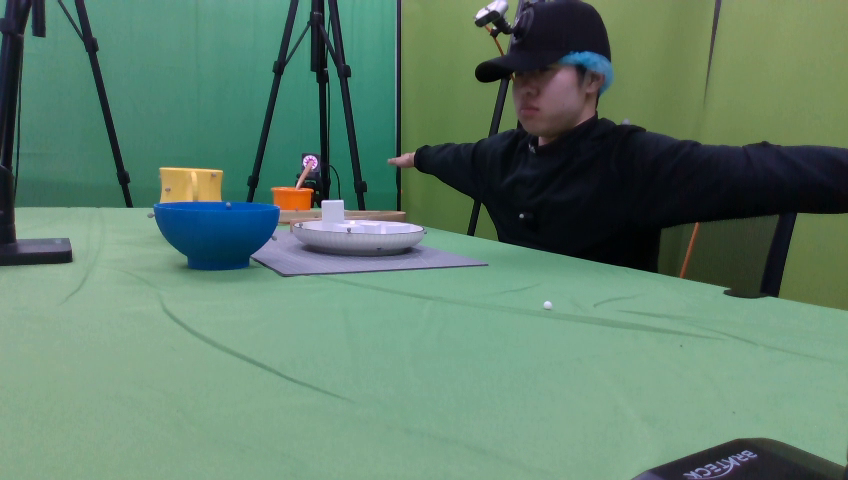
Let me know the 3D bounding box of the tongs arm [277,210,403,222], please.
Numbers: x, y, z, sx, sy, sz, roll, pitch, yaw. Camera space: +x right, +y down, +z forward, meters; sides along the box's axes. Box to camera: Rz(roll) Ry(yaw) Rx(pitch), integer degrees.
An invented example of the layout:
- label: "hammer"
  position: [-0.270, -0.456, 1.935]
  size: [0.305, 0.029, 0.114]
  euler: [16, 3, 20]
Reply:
- label: "tongs arm"
  position: [-0.207, -0.051, 1.333]
  size: [0.387, 0.026, 0.050]
  euler: [-2, 8, -44]

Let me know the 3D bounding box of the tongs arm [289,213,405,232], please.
- label: "tongs arm"
  position: [-0.146, -0.040, 1.281]
  size: [0.028, 0.028, 0.389]
  euler: [3, 5, 33]

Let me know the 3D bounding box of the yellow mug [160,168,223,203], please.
- label: "yellow mug"
  position: [-0.387, -0.086, 1.016]
  size: [0.100, 0.064, 0.130]
  euler: [-1, 9, -26]

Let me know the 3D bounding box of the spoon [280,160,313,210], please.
- label: "spoon"
  position: [-0.286, -0.118, 1.372]
  size: [0.041, 0.193, 0.022]
  euler: [3, -37, 18]

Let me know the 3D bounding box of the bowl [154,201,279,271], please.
- label: "bowl"
  position: [-0.263, -0.005, 0.773]
  size: [0.151, 0.077, 0.151]
  euler: [3, 8, 0]

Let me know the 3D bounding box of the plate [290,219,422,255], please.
- label: "plate"
  position: [-0.108, -0.005, 0.963]
  size: [0.208, 0.039, 0.207]
  euler: [3, 7, 0]
